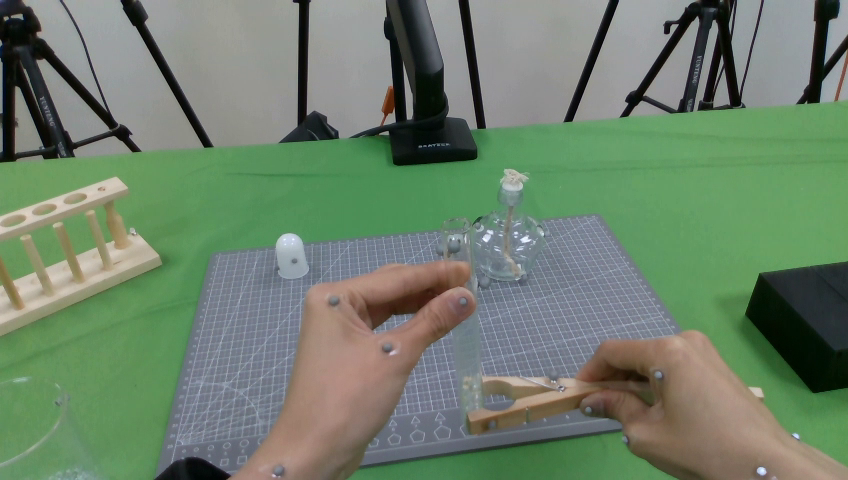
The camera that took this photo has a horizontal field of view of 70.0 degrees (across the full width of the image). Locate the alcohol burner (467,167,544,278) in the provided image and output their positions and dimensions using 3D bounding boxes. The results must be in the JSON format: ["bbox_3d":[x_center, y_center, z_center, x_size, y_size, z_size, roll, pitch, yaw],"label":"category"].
[{"bbox_3d":[0.083,-0.021,0.609,0.078,0.120,0.077,1,36,0],"label":"alcohol burner"}]

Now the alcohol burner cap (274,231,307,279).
[{"bbox_3d":[-0.142,0.013,0.632,0.034,0.048,0.033,-1,35,1],"label":"alcohol burner cap"}]

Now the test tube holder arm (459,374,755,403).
[{"bbox_3d":[0.111,0.091,0.371,0.178,0.015,0.013,0,41,1],"label":"test tube holder arm"}]

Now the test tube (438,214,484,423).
[{"bbox_3d":[0.022,0.051,0.333,0.017,0.151,0.017,-5,35,4],"label":"test tube"}]

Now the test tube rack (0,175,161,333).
[{"bbox_3d":[-0.398,0.026,0.591,0.242,0.086,0.066,-29,44,-33],"label":"test tube rack"}]

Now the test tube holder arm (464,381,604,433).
[{"bbox_3d":[0.067,0.098,0.364,0.088,0.015,0.010,-12,41,-13],"label":"test tube holder arm"}]

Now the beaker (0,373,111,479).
[{"bbox_3d":[-0.261,0.150,0.400,0.084,0.101,0.073,-1,35,1],"label":"beaker"}]
